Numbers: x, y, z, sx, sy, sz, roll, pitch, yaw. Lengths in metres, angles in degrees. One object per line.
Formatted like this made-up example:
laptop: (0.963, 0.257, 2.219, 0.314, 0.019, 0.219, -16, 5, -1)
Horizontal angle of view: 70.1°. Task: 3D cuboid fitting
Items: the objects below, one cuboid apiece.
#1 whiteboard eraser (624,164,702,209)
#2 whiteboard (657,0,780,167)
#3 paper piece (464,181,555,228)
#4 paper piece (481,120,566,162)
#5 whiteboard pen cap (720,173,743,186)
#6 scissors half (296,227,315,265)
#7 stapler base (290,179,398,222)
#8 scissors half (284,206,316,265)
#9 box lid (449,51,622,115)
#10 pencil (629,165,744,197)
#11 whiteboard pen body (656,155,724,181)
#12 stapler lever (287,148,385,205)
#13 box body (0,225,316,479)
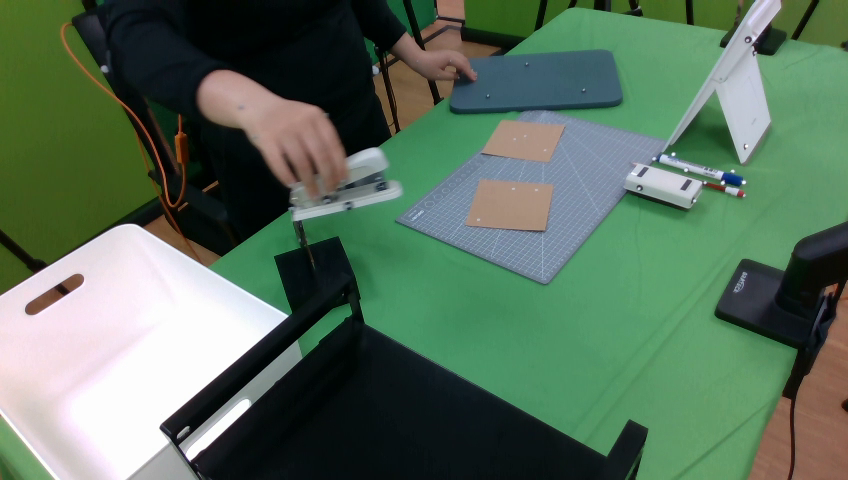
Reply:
whiteboard eraser: (0.396, -0.086, 1.003, 0.112, 0.042, 0.056, 22, 47, 31)
whiteboard: (0.571, -0.272, 1.038, 0.143, 0.306, 0.218, 36, 54, 17)
paper piece: (0.149, -0.062, 1.034, 0.137, 0.009, 0.136, 4, 37, 17)
paper piece: (0.197, -0.199, 1.188, 0.135, 0.004, 0.135, 10, 44, 22)
whiteboard pen cap: (0.519, -0.103, 1.020, 0.033, 0.018, 0.018, 23, 49, 30)
scissors half: (-0.187, 0.008, 0.956, 0.013, 0.040, 0.174, -31, 25, -8)
stapler base: (-0.096, -0.053, 0.710, 0.130, 0.024, 0.041, -15, 28, 0)
scissors half: (-0.193, -0.008, 0.945, 0.013, 0.040, 0.173, -27, 41, -11)
box lid: (0.250, -0.358, 1.370, 0.371, 0.015, 0.262, -1, 40, 9)
pencil: (0.447, -0.103, 1.038, 0.192, 0.012, 0.012, 21, 48, 29)
whiteboard pen body: (0.475, -0.123, 1.052, 0.139, 0.017, 0.017, 24, 49, 32)
stapler lever: (-0.103, -0.074, 0.697, 0.118, 0.040, 0.026, -15, 28, 0)
box body: (-0.339, 0.162, 0.728, 0.361, 0.161, 0.255, 23, 48, 31)
